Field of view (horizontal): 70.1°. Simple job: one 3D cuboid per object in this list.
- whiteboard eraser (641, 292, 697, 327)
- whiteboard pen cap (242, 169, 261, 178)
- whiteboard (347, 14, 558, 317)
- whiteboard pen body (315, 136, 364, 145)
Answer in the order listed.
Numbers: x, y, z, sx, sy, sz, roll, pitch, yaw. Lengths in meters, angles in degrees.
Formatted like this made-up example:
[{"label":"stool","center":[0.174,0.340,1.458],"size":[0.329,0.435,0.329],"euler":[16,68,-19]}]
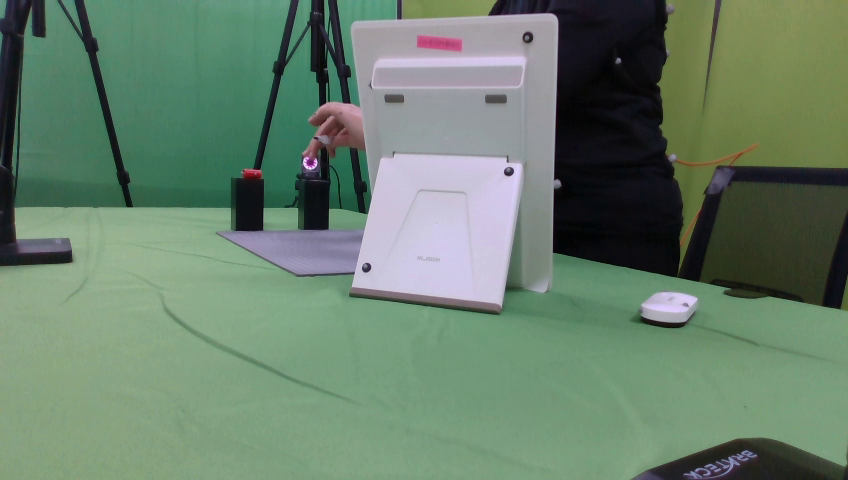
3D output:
[{"label":"whiteboard eraser","center":[0.240,0.066,0.590],"size":[0.041,0.019,0.102],"euler":[6,7,31]},{"label":"whiteboard pen cap","center":[-0.327,-0.126,1.144],"size":[0.032,0.017,0.017],"euler":[0,8,-36]},{"label":"whiteboard","center":[0.012,-0.056,0.609],"size":[0.216,0.305,0.144],"euler":[5,27,20]},{"label":"whiteboard pen body","center":[-0.153,-0.182,1.106],"size":[0.017,0.017,0.141],"euler":[7,12,29]}]
